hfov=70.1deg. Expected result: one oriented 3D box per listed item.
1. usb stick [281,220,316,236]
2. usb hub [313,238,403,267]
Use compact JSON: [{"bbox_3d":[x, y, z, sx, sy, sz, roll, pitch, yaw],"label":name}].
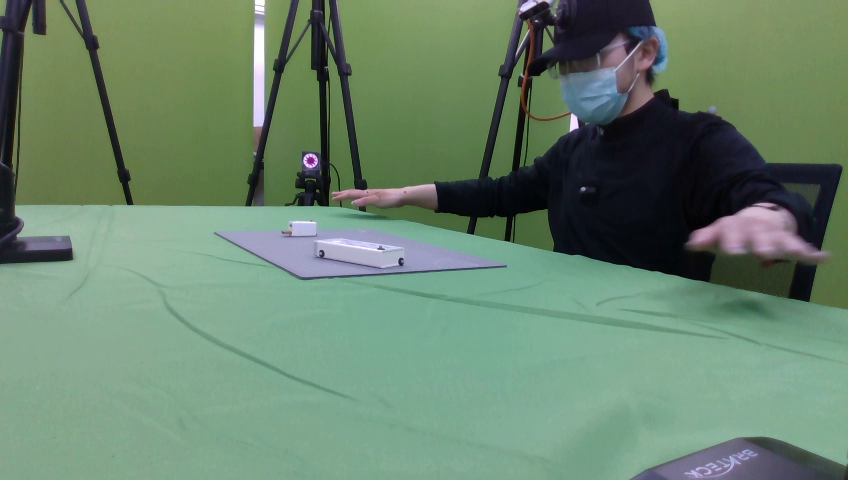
[{"bbox_3d":[-0.220,-0.020,1.054,0.059,0.027,0.021,-5,12,-32],"label":"usb stick"},{"bbox_3d":[-0.091,0.016,0.818,0.124,0.025,0.050,7,9,36],"label":"usb hub"}]
